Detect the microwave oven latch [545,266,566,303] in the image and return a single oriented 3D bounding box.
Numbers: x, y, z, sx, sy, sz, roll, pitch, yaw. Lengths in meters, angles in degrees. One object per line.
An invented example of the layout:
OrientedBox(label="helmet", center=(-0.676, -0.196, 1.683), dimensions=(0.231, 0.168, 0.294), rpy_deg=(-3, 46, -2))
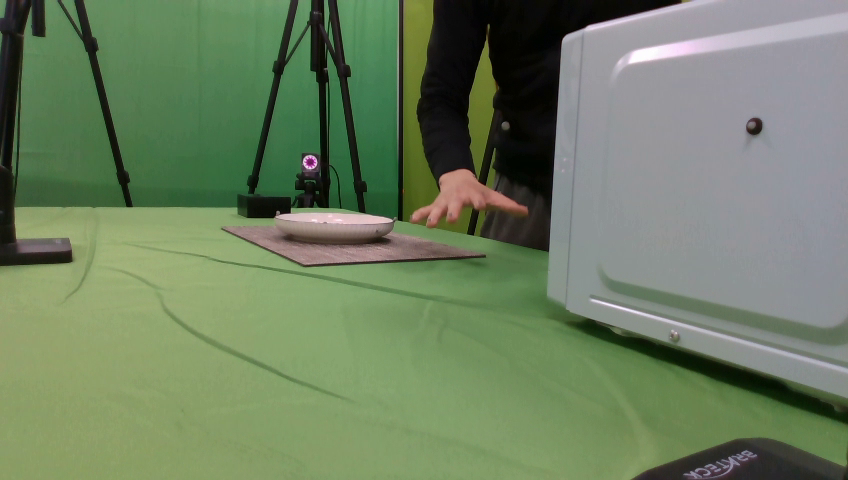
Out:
OrientedBox(label="microwave oven latch", center=(0.147, 0.038, 0.555), dimensions=(0.079, 0.029, 0.030), rpy_deg=(-2, 7, -29))

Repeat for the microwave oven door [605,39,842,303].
OrientedBox(label="microwave oven door", center=(0.341, -0.070, 0.654), dimensions=(0.358, 0.243, 0.039), rpy_deg=(-3, 9, -31))

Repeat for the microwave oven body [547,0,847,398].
OrientedBox(label="microwave oven body", center=(0.378, -0.045, 0.509), dimensions=(0.444, 0.260, 0.324), rpy_deg=(-2, 8, -31))

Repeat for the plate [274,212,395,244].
OrientedBox(label="plate", center=(-0.157, -0.022, 1.066), dimensions=(0.209, 0.038, 0.209), rpy_deg=(2, 8, 0))
